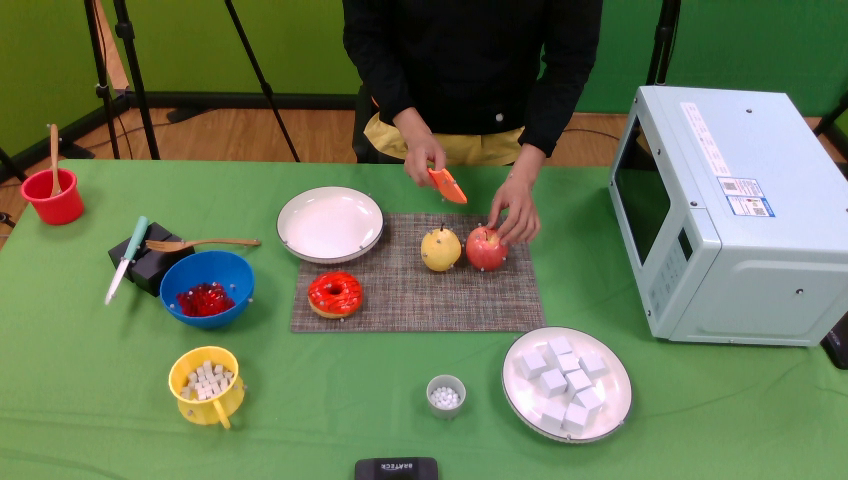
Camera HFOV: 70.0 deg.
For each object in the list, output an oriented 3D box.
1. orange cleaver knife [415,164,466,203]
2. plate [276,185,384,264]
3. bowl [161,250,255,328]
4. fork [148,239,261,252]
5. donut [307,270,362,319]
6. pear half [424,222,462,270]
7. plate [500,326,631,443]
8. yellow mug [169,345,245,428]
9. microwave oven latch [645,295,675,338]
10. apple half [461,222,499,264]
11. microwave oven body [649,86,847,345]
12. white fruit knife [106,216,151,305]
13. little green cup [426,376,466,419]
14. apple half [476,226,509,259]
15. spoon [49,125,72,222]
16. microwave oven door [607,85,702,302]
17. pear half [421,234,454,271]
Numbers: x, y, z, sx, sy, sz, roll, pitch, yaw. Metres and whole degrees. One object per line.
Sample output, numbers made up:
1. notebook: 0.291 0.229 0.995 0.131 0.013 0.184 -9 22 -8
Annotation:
1. orange cleaver knife: 0.028 -0.103 1.090 0.012 0.077 0.210 -34 19 -8
2. plate: -0.184 -0.027 1.195 0.209 0.038 0.208 2 46 -2
3. bowl: -0.362 0.097 1.040 0.151 0.077 0.150 2 45 -2
4. fork: -0.399 0.007 1.118 0.208 0.019 0.028 -4 36 -37
5. donut: -0.157 0.097 1.073 0.099 0.048 0.098 4 45 -4
6. pear half: 0.039 0.000 1.135 0.076 0.110 0.056 25 50 15
7. plate: 0.224 0.234 0.978 0.208 0.039 0.206 2 46 -2
8. yellow mug: -0.322 0.230 0.922 0.100 0.064 0.130 -24 53 -25
9. microwave oven latch: 0.412 0.134 1.061 0.030 0.029 0.078 3 45 0
10. apple half: 0.112 0.013 1.153 0.081 0.075 0.053 -29 55 -34
11. microwave oven body: 0.567 -0.053 1.118 0.326 0.261 0.439 2 45 -1
12. white fruit knife: -0.519 0.032 1.066 0.027 0.016 0.206 -18 45 19
13. little green cup: 0.033 0.248 0.950 0.061 0.039 0.061 2 46 -2
14. apple half: 0.128 -0.001 1.166 0.081 0.081 0.032 15 51 10
15. spoon: -0.717 -0.131 1.189 0.041 0.021 0.193 -3 90 -7
16. microwave oven door: 0.423 -0.094 1.140 0.039 0.245 0.353 2 46 -1
17. pear half: 0.020 0.028 1.120 0.070 0.088 0.031 25 49 13
